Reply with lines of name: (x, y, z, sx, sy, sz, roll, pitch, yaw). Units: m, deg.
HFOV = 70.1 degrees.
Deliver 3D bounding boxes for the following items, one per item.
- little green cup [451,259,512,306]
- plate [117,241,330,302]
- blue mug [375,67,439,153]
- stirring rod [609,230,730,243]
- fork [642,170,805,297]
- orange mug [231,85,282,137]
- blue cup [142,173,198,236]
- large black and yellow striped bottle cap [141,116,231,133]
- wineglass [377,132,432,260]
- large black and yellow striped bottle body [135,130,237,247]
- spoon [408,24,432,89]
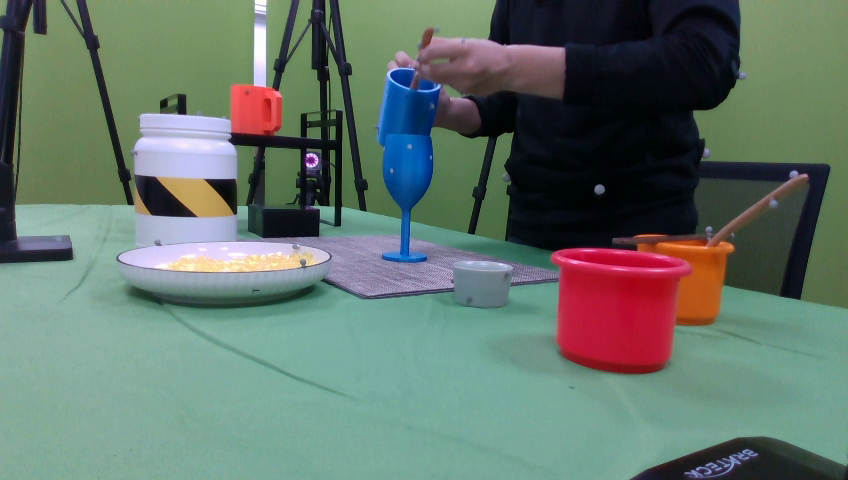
little green cup: (0.057, 0.043, 0.611, 0.061, 0.038, 0.061, 3, 8, 0)
plate: (-0.203, 0.031, 0.629, 0.209, 0.038, 0.209, 3, 7, 0)
blue mug: (-0.030, -0.208, 0.935, 0.082, 0.106, 0.116, 3, 37, -15)
stirring rod: (0.241, -0.004, 0.582, 0.177, 0.006, 0.014, -4, 10, -33)
fork: (0.261, 0.003, 0.545, 0.028, 0.018, 0.207, 5, -37, -15)
orange mug: (-0.335, -0.261, 1.225, 0.125, 0.100, 0.084, 2, 6, 35)
blue cup: (-0.425, -0.060, 1.014, 0.093, 0.100, 0.092, 4, 9, 0)
large black and yellow striped bottle cap: (-0.324, -0.157, 0.826, 0.115, 0.019, 0.115, 1, 7, 0)
wineglass: (-0.026, -0.062, 0.841, 0.074, 0.172, 0.073, 2, 8, 0)
large black and yellow striped bottle body: (-0.327, -0.074, 0.838, 0.131, 0.184, 0.130, 2, 7, 0)
spoon: (-0.013, -0.230, 0.844, 0.042, 0.021, 0.193, 12, -30, -5)
